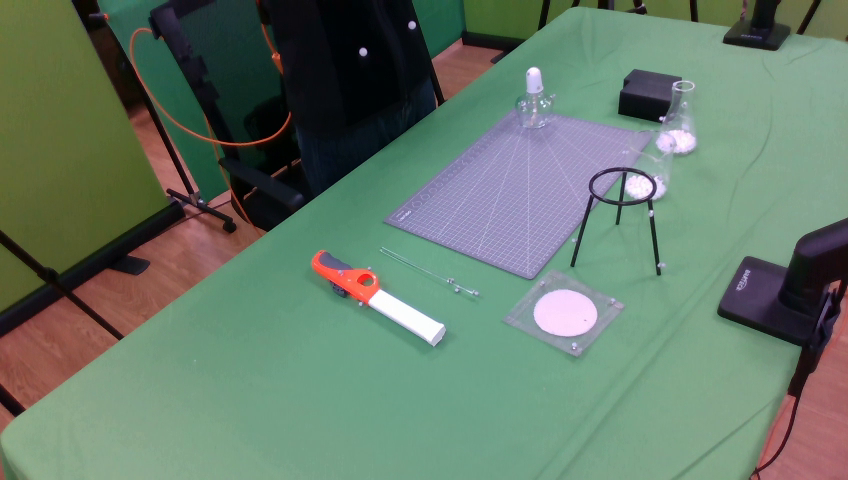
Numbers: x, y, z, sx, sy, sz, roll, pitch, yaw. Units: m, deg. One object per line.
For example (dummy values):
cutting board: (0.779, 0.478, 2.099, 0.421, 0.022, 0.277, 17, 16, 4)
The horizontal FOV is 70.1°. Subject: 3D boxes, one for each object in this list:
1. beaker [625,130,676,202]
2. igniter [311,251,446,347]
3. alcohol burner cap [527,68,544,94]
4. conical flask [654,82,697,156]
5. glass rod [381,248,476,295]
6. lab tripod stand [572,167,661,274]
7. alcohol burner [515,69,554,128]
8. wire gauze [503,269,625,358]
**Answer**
beaker: (0.369, -0.117, 0.992, 0.074, 0.101, 0.083, -7, 41, 5)
igniter: (-0.078, 0.081, 0.899, 0.274, 0.025, 0.057, 27, 62, 35)
alcohol burner cap: (0.216, -0.312, 1.179, 0.034, 0.048, 0.033, -10, 40, 9)
conical flask: (0.454, -0.218, 1.076, 0.075, 0.122, 0.075, -5, 40, 5)
glass rod: (0.002, 0.047, 0.939, 0.198, 0.008, 0.008, 23, 50, 36)
lab tripod stand: (0.283, -0.030, 0.879, 0.148, 0.132, 0.147, -7, 38, 6)
alcohol burner: (0.220, -0.285, 1.203, 0.078, 0.119, 0.077, -4, 39, 4)
wire gauze: (0.194, 0.100, 0.840, 0.120, 0.011, 0.125, 27, 54, 36)
